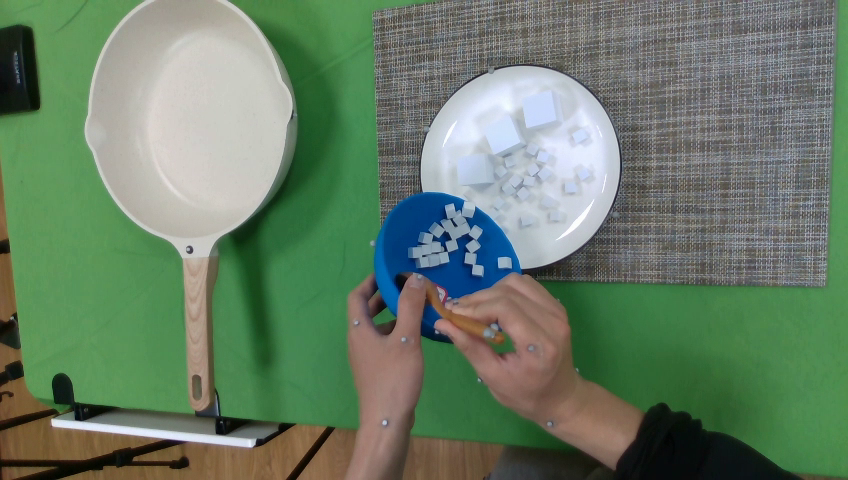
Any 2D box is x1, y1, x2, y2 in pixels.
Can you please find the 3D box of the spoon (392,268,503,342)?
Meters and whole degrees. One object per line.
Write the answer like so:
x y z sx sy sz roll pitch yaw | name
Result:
0.015 0.052 0.485 0.042 0.192 0.021 39 87 -22 | spoon

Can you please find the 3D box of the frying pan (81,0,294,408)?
-0.278 -0.043 0.735 0.305 0.103 0.487 -2 87 21 | frying pan

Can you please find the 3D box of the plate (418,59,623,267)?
0.097 -0.077 0.624 0.207 0.039 0.208 2 97 20 | plate

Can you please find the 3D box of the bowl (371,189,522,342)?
0.009 0.035 0.576 0.151 0.151 0.077 54 139 7 | bowl
